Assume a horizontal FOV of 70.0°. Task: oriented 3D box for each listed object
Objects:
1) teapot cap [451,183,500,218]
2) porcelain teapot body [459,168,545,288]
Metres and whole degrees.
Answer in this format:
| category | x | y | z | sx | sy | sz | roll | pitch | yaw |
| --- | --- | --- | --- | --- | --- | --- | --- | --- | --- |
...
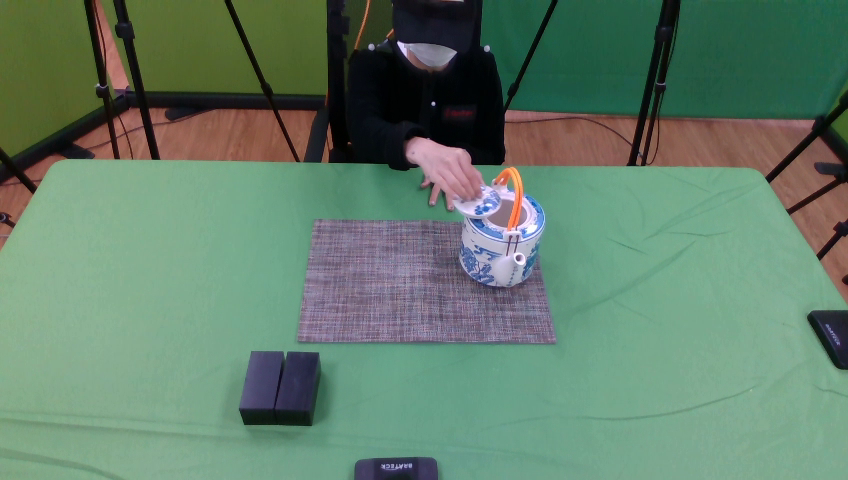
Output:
| category | x | y | z | sx | sy | sz | roll | pitch | yaw |
| --- | --- | --- | --- | --- | --- | --- | --- | --- | --- |
| teapot cap | 0.088 | -0.073 | 1.028 | 0.085 | 0.044 | 0.084 | 5 | 44 | -5 |
| porcelain teapot body | 0.146 | -0.006 | 1.070 | 0.145 | 0.226 | 0.204 | -4 | 46 | -8 |
